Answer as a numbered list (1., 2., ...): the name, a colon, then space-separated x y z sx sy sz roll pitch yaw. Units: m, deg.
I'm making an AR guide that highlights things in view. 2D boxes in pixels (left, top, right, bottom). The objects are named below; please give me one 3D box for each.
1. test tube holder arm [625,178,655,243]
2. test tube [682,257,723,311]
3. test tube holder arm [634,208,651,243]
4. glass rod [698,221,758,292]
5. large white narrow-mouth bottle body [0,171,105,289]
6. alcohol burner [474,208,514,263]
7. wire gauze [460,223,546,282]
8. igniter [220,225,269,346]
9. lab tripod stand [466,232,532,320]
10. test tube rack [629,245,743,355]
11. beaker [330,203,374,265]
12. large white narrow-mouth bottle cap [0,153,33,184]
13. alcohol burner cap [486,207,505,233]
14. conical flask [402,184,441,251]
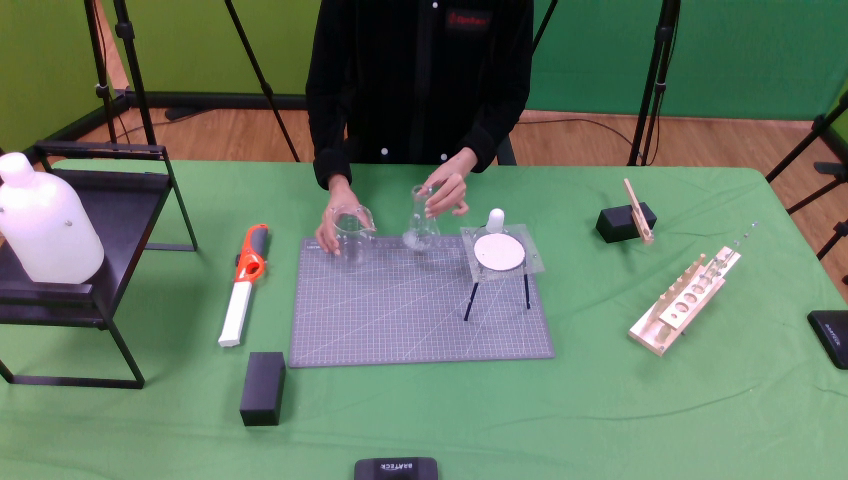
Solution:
1. test tube holder arm: 0.433 -0.062 1.220 0.013 0.015 0.177 0 47 -3
2. test tube: 0.475 0.080 1.037 0.017 0.151 0.017 1 50 -1
3. test tube holder arm: 0.428 -0.030 1.189 0.010 0.015 0.087 1 47 -2
4. glass rod: 0.527 0.036 1.059 0.008 0.200 0.008 5 49 -6
5. large white narrow-mouth bottle body: -0.513 -0.029 0.818 0.102 0.195 0.101 2 46 -2
6. alcohol burner: 0.134 -0.013 1.150 0.078 0.120 0.077 0 47 0
7. wire gauze: 0.131 0.016 1.015 0.121 0.011 0.124 -5 45 -8
8. igniter: -0.323 0.072 1.100 0.057 0.025 0.274 -6 46 5
9. lab tripod stand: 0.125 0.060 1.065 0.148 0.132 0.147 1 45 0
10. test tube rack: 0.474 0.095 1.091 0.242 0.085 0.066 -34 56 -31
11. beaker: -0.131 -0.007 1.129 0.084 0.101 0.073 18 49 12
12. large white narrow-mouth bottle cap: -0.510 -0.089 0.754 0.038 0.024 0.037 2 46 -2
13. alcohol burner cap: 0.135 -0.039 1.125 0.034 0.048 0.033 4 41 -4
14. conical flask: -0.005 -0.045 1.124 0.075 0.122 0.075 0 42 0
